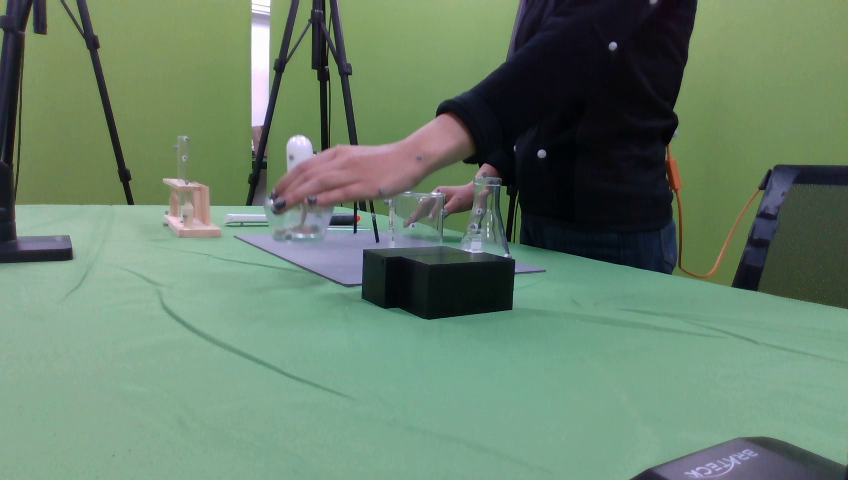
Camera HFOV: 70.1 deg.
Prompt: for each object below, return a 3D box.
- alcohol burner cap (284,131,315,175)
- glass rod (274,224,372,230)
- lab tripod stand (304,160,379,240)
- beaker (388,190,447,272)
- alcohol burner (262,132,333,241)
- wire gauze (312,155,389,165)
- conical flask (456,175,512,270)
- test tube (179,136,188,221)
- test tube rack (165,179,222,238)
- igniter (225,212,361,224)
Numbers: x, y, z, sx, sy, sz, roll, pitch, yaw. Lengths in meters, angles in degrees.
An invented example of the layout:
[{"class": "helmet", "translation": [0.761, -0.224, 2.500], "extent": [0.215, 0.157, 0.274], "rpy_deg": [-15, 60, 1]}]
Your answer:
[{"class": "alcohol burner cap", "translation": [-0.138, -0.095, 0.661], "extent": [0.034, 0.048, 0.034], "rpy_deg": [-4, 7, 1]}, {"class": "glass rod", "translation": [-0.193, -0.024, 1.176], "extent": [0.201, 0.008, 0.008], "rpy_deg": [1, 6, -31]}, {"class": "lab tripod stand", "translation": [-0.131, -0.071, 1.046], "extent": [0.148, 0.131, 0.148], "rpy_deg": [4, 7, 0]}, {"class": "beaker", "translation": [-0.010, -0.013, 0.771], "extent": [0.074, 0.100, 0.084], "rpy_deg": [3, 7, 4]}, {"class": "alcohol burner", "translation": [-0.138, -0.059, 0.665], "extent": [0.078, 0.119, 0.078], "rpy_deg": [5, 6, 0]}, {"class": "wire gauze", "translation": [-0.128, -0.138, 1.042], "extent": [0.122, 0.011, 0.124], "rpy_deg": [1, 8, -18]}, {"class": "conical flask", "translation": [0.083, -0.025, 0.801], "extent": [0.075, 0.122, 0.075], "rpy_deg": [2, 7, 0]}, {"class": "test tube", "translation": [-0.425, -0.108, 1.070], "extent": [0.017, 0.150, 0.017], "rpy_deg": [4, 9, 0]}, {"class": "test tube rack", "translation": [-0.423, -0.062, 1.098], "extent": [0.067, 0.085, 0.241], "rpy_deg": [-2, 9, -28]}, {"class": "igniter", "translation": [-0.262, -0.044, 1.240], "extent": [0.278, 0.025, 0.057], "rpy_deg": [-2, -1, -31]}]
